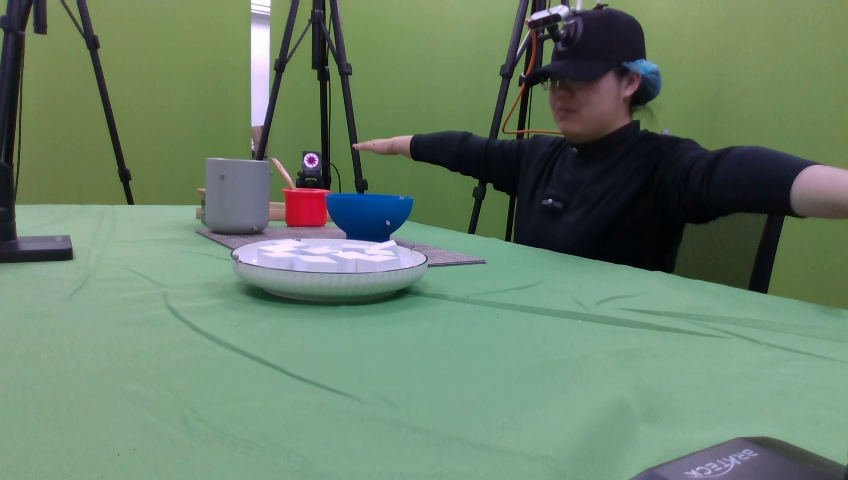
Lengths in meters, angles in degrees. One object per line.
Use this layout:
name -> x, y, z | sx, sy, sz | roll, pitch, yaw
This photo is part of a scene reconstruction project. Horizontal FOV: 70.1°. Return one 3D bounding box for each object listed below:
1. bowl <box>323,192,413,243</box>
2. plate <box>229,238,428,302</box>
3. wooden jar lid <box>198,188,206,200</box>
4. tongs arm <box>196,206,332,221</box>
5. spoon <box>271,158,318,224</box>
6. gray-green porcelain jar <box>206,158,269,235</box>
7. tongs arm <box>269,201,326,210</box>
bowl -> -0.094, -0.037, 1.015 | 0.151, 0.077, 0.151 | 3, 7, 0
plate -> -0.099, 0.032, 0.651 | 0.209, 0.038, 0.209 | 3, 8, 0
wooden jar lid -> -0.382, -0.088, 1.175 | 0.108, 0.020, 0.108 | 3, 8, 0
tongs arm -> -0.294, -0.058, 1.330 | 0.389, 0.028, 0.028 | 0, 5, -20
spoon -> -0.268, -0.103, 1.236 | 0.042, 0.021, 0.193 | -9, 58, -40
gray-green porcelain jar -> -0.322, -0.076, 1.048 | 0.106, 0.126, 0.106 | 3, 7, 0
tongs arm -> -0.308, -0.073, 1.410 | 0.386, 0.026, 0.050 | 3, 8, -6
